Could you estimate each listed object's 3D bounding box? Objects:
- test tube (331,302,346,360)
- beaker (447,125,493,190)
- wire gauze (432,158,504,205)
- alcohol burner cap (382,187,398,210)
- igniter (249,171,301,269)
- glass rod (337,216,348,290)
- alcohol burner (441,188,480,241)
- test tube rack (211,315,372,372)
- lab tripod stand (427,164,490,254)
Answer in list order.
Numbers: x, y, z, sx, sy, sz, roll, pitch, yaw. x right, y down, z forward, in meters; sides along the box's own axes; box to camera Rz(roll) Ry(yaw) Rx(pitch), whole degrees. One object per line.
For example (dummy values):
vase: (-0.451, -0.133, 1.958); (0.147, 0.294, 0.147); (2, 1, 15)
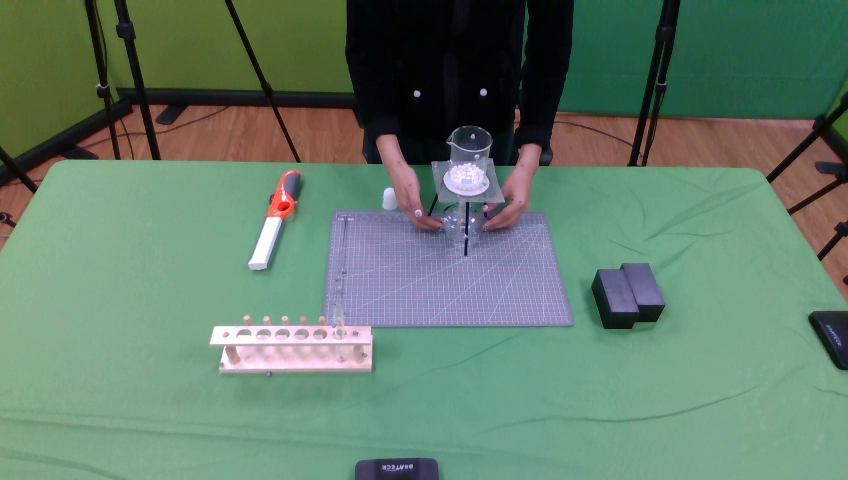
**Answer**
test tube: (-0.132, 0.144, 0.938); (0.017, 0.151, 0.017); (2, 49, -3)
beaker: (0.079, -0.148, 1.106); (0.084, 0.101, 0.073); (-3, 47, -7)
wire gauze: (0.081, -0.111, 1.138); (0.125, 0.011, 0.120); (0, 48, -7)
alcohol burner cap: (-0.072, -0.090, 1.266); (0.034, 0.048, 0.033); (2, 46, -2)
igniter: (-0.297, -0.049, 1.220); (0.057, 0.025, 0.275); (-1, 45, 9)
glass rod: (-0.158, 0.021, 1.171); (0.008, 0.008, 0.198); (1, 44, -2)
alcohol burner: (0.073, -0.055, 1.189); (0.078, 0.120, 0.077); (1, 47, -1)
test tube rack: (-0.208, 0.163, 0.982); (0.242, 0.085, 0.066); (1, 46, -4)
lab tripod stand: (0.078, -0.068, 1.188); (0.148, 0.132, 0.147); (3, 46, -3)
